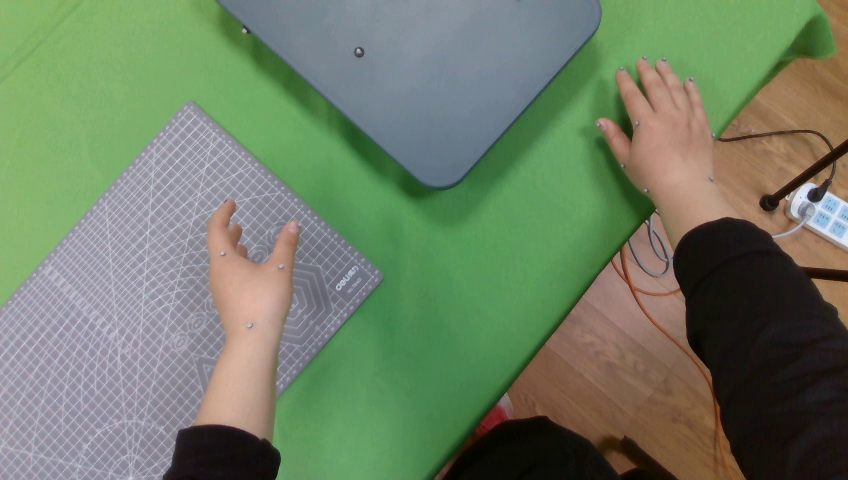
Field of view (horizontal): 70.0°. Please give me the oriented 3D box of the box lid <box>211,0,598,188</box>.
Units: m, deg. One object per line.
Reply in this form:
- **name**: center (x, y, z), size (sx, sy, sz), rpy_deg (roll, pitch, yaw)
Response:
- **box lid**: center (-0.034, -0.259, 0.632), size (0.370, 0.015, 0.263), rpy_deg (42, 88, 6)
